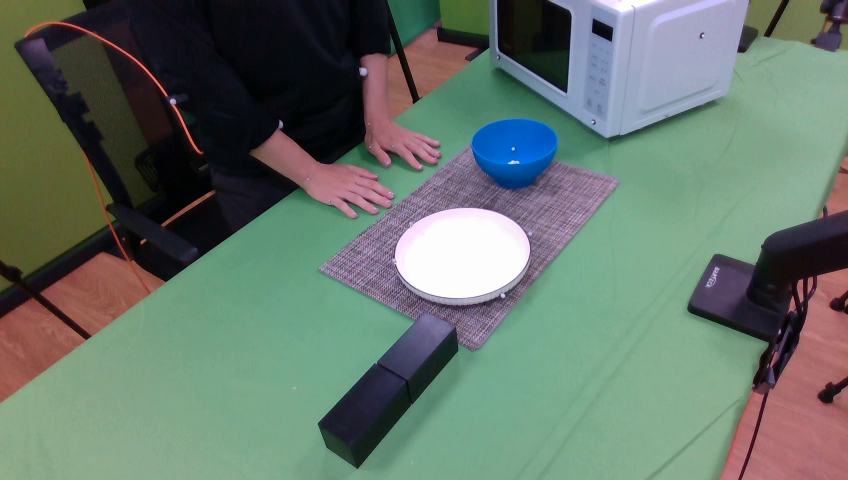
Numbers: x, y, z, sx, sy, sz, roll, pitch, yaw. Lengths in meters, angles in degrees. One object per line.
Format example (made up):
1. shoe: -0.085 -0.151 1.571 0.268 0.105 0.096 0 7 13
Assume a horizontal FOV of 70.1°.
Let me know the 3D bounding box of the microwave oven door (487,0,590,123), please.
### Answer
1. microwave oven door: 0.232 -0.420 1.231 0.039 0.245 0.352 -22 43 -16

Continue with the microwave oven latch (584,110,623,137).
1. microwave oven latch: 0.337 -0.222 1.142 0.030 0.029 0.078 -21 42 -14

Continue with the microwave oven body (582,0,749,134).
1. microwave oven body: 0.382 -0.445 1.246 0.327 0.261 0.437 -22 42 -16

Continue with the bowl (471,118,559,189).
1. bowl: 0.160 -0.144 1.066 0.151 0.077 0.150 -4 41 4

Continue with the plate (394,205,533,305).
1. plate: 0.059 0.025 0.915 0.207 0.039 0.206 -4 41 4
